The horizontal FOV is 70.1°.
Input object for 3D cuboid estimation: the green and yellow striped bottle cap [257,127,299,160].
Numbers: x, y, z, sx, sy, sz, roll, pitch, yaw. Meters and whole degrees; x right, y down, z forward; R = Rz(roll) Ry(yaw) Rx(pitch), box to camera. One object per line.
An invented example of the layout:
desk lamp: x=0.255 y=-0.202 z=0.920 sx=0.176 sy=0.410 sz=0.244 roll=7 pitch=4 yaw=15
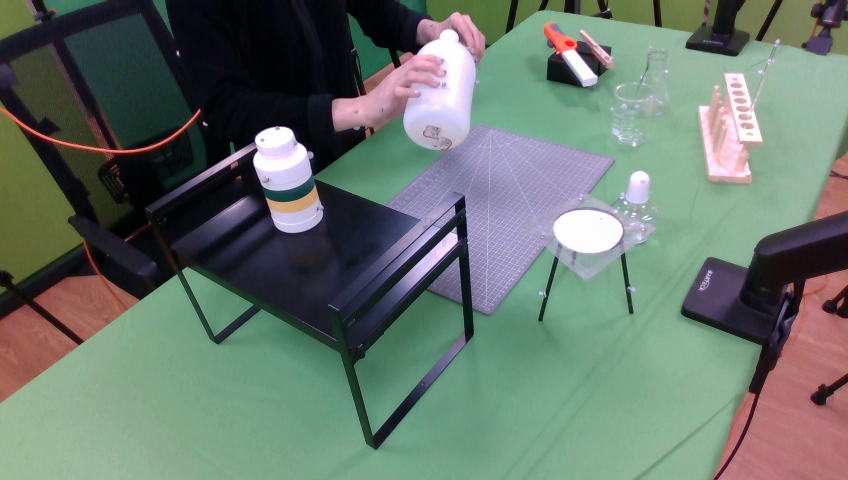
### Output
green and yellow striped bottle cap: x=-0.169 y=-0.112 z=0.698 sx=0.045 sy=0.020 sz=0.045 roll=-5 pitch=40 yaw=5

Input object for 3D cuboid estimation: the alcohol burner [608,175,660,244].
alcohol burner: x=0.322 y=-0.053 z=0.924 sx=0.078 sy=0.119 sz=0.077 roll=-4 pitch=43 yaw=4

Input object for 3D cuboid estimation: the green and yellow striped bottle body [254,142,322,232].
green and yellow striped bottle body: x=-0.165 y=-0.073 z=0.732 sx=0.063 sy=0.120 sz=0.063 roll=-4 pitch=41 yaw=4

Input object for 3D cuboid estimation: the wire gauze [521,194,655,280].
wire gauze: x=0.207 y=-0.012 z=0.772 sx=0.122 sy=0.011 sz=0.124 roll=-28 pitch=44 yaw=-20

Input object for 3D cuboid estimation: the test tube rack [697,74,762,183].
test tube rack: x=0.547 y=-0.208 z=1.095 sx=0.066 sy=0.085 sz=0.242 roll=5 pitch=42 yaw=15

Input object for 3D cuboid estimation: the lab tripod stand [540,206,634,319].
lab tripod stand: x=0.217 y=0.034 z=0.821 sx=0.148 sy=0.132 sz=0.147 roll=-4 pitch=42 yaw=4

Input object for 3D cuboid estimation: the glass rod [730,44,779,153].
glass rod: x=0.555 y=-0.234 z=1.021 sx=0.008 sy=0.200 sz=0.008 roll=2 pitch=40 yaw=-1

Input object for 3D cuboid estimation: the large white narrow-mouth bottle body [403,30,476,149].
large white narrow-mouth bottle body: x=0.029 y=-0.242 z=0.923 sx=0.101 sy=0.102 sz=0.194 roll=3 pitch=61 yaw=11

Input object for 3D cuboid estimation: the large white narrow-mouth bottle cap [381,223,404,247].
large white narrow-mouth bottle cap: x=-0.052 y=-0.009 z=0.992 sx=0.038 sy=0.024 sz=0.037 roll=-5 pitch=39 yaw=4

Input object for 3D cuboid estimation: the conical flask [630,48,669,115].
conical flask: x=0.456 y=-0.317 z=1.205 sx=0.075 sy=0.122 sz=0.075 roll=-4 pitch=41 yaw=4

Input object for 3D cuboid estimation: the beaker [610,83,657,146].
beaker: x=0.388 y=-0.235 z=1.138 sx=0.074 sy=0.101 sz=0.083 roll=-31 pitch=45 yaw=-25

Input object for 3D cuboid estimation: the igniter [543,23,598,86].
igniter: x=0.320 y=-0.419 z=1.345 sx=0.057 sy=0.025 sz=0.274 roll=-12 pitch=44 yaw=-3

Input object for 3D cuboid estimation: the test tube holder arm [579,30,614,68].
test tube holder arm: x=0.384 y=-0.428 z=1.351 sx=0.013 sy=0.015 sz=0.177 roll=-11 pitch=41 yaw=-3

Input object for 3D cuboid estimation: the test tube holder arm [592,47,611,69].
test tube holder arm: x=0.386 y=-0.398 z=1.317 sx=0.010 sy=0.015 sz=0.087 roll=-10 pitch=41 yaw=-2

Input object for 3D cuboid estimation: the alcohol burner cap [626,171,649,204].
alcohol burner cap: x=0.320 y=-0.081 z=0.900 sx=0.034 sy=0.048 sz=0.033 roll=-4 pitch=42 yaw=4

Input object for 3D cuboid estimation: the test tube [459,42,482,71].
test tube: x=0.081 y=-0.322 z=1.068 sx=0.017 sy=0.017 sz=0.151 roll=8 pitch=4 yaw=17
